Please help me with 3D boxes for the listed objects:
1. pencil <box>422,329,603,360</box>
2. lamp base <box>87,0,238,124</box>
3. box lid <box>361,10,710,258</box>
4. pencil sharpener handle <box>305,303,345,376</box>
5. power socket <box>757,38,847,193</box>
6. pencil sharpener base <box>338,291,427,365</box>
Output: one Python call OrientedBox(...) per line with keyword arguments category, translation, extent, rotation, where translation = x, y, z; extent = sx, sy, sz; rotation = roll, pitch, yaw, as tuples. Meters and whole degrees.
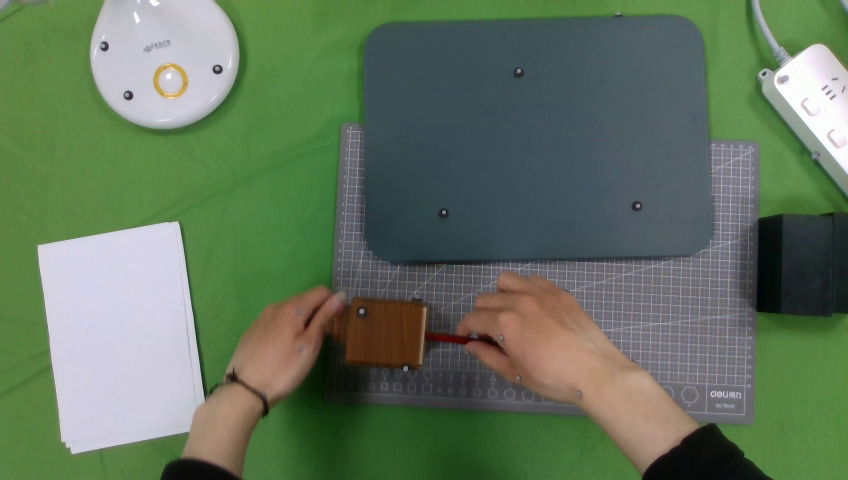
OrientedBox(category="pencil", translation=(0.070, 0.095, 0.566), extent=(0.194, 0.012, 0.012), rotation=(7, 87, 0))
OrientedBox(category="lamp base", translation=(-0.290, -0.220, 0.577), extent=(0.160, 0.180, 0.178), rotation=(-28, 84, -1))
OrientedBox(category="box lid", translation=(0.118, -0.114, 0.650), extent=(0.371, 0.015, 0.262), rotation=(-2, 87, 1))
OrientedBox(category="pencil sharpener handle", translation=(-0.091, 0.091, 0.562), extent=(0.030, 0.036, 0.067), rotation=(5, 78, 1))
OrientedBox(category="power socket", translation=(0.447, -0.112, 0.635), extent=(0.072, 0.032, 0.226), rotation=(-37, 87, -1))
OrientedBox(category="pencil sharpener base", translation=(-0.038, 0.083, 0.592), extent=(0.077, 0.107, 0.061), rotation=(5, 86, 1))
